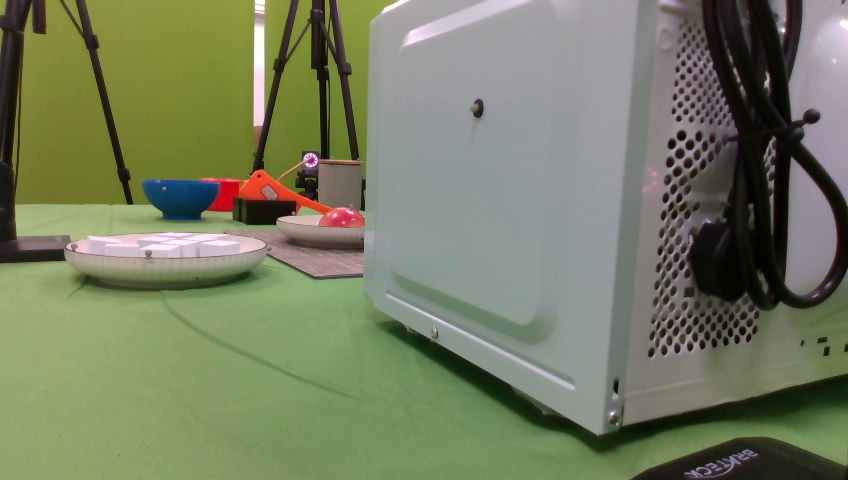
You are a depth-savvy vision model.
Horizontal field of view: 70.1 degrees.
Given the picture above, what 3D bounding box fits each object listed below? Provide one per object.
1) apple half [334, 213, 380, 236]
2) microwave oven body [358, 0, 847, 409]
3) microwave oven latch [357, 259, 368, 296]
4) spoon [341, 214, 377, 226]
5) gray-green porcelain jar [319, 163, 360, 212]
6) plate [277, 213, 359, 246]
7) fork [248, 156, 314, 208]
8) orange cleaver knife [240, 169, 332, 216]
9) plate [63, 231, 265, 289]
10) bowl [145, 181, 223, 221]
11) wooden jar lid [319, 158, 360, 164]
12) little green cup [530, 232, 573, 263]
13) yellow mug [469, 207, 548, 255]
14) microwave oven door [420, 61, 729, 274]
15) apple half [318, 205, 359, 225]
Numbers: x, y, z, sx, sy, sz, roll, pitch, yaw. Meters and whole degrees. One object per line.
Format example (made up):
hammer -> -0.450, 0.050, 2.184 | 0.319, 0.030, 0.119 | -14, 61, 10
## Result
apple half -> -0.112, -0.029, 1.034 | 0.081, 0.033, 0.081 | 0, 10, 0
microwave oven body -> 0.210, -0.051, 0.471 | 0.444, 0.260, 0.324 | -1, 7, -28
microwave oven latch -> -0.019, 0.031, 0.529 | 0.079, 0.029, 0.030 | -1, 7, -26
spoon -> -0.132, -0.047, 1.305 | 0.041, 0.021, 0.194 | -15, 4, 14
gray-green porcelain jar -> -0.204, -0.126, 1.490 | 0.106, 0.126, 0.106 | 2, 8, 0
plate -> -0.135, -0.018, 0.994 | 0.209, 0.038, 0.209 | 2, 7, 0
fork -> -0.360, -0.147, 1.523 | 0.207, 0.019, 0.028 | -43, 17, -6
orange cleaver knife -> -0.287, -0.082, 1.298 | 0.212, 0.077, 0.012 | 25, -2, -31
plate -> -0.288, 0.021, 0.687 | 0.208, 0.039, 0.207 | 2, 8, 0
bowl -> -0.499, -0.081, 1.261 | 0.151, 0.077, 0.151 | 2, 8, 0
wooden jar lid -> -0.203, -0.189, 1.482 | 0.108, 0.020, 0.108 | 2, 10, 0
little green cup -> 0.185, 0.011, 0.879 | 0.061, 0.038, 0.061 | 0, 8, 0
yellow mug -> 0.136, -0.015, 0.951 | 0.131, 0.064, 0.099 | 2, 7, -20
microwave oven door -> 0.171, -0.093, 0.749 | 0.355, 0.243, 0.039 | 4, 8, 18
apple half -> -0.126, -0.029, 0.954 | 0.081, 0.053, 0.074 | -2, 10, -33
